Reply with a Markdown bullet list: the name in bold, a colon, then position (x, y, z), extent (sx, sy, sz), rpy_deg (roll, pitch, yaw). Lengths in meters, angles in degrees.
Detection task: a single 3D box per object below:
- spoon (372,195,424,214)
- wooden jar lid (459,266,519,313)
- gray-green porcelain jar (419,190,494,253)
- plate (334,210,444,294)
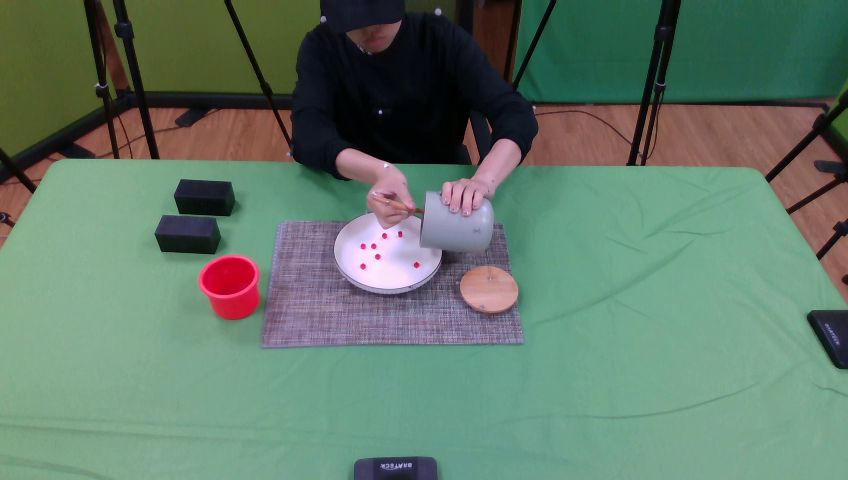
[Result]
- **spoon**: position (-0.003, -0.054, 1.087), extent (0.194, 0.022, 0.041), rpy_deg (9, 34, -24)
- **wooden jar lid**: position (0.118, 0.093, 1.111), extent (0.108, 0.021, 0.107), rpy_deg (1, 47, -1)
- **gray-green porcelain jar**: position (0.059, -0.032, 1.102), extent (0.126, 0.106, 0.105), rpy_deg (6, 46, -3)
- **plate**: position (-0.066, 0.026, 1.150), extent (0.208, 0.039, 0.206), rpy_deg (2, 46, -2)
